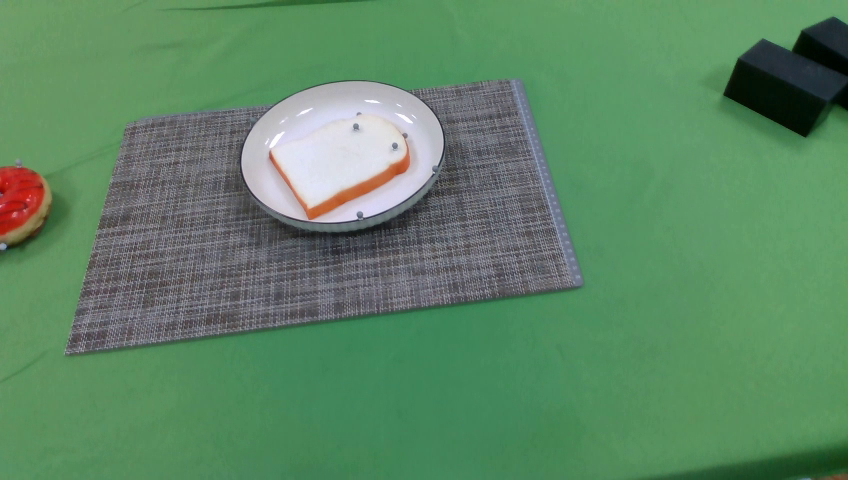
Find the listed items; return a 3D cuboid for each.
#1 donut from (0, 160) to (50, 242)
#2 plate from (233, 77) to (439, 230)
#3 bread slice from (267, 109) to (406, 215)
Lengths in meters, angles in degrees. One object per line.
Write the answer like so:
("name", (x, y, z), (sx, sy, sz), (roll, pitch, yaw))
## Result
("donut", (-0.430, -0.040, 0.609), (0.099, 0.049, 0.098), (-3, 54, 4))
("plate", (-0.087, -0.088, 0.625), (0.207, 0.039, 0.205), (-1, 53, 2))
("bread slice", (-0.087, -0.091, 0.629), (0.131, 0.019, 0.104), (-29, 57, -16))
